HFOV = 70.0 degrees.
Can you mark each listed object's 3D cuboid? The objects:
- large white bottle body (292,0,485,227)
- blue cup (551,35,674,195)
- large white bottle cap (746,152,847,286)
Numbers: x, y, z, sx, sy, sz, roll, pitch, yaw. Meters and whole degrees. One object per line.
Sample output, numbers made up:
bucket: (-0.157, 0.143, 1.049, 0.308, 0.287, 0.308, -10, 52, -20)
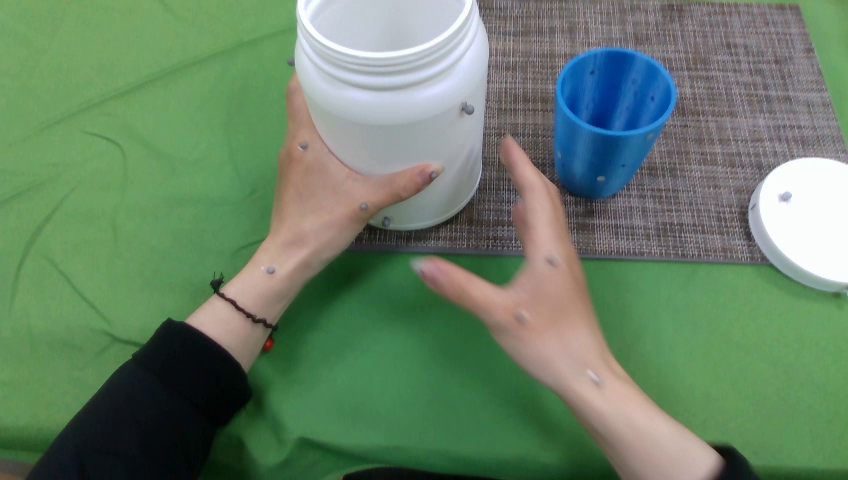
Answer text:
large white bottle body: (-0.022, -0.108, 0.447, 0.130, 0.186, 0.129, -1, 61, 2)
blue cup: (0.139, -0.087, 0.477, 0.092, 0.101, 0.092, -2, 60, 3)
large white bottle cap: (0.318, -0.019, 0.481, 0.115, 0.018, 0.114, 0, 65, 0)
